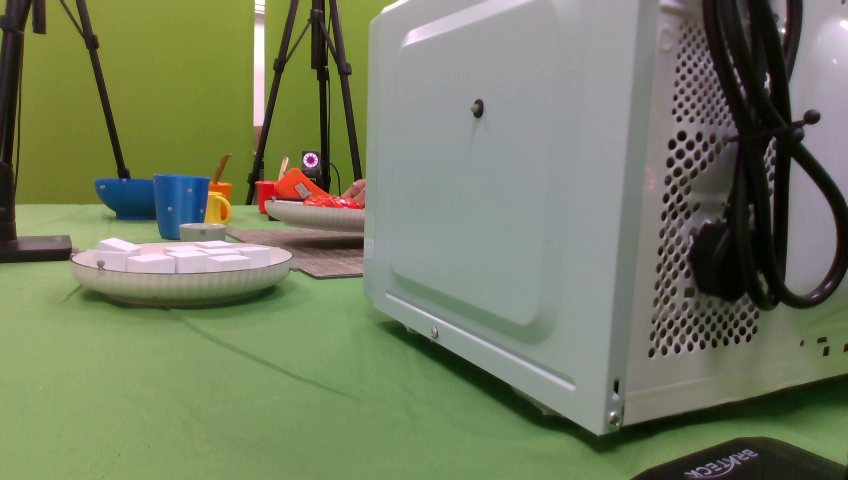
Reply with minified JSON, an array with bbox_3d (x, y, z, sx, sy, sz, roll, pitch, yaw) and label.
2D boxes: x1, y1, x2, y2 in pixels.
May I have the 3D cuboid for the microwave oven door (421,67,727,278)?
[{"bbox_3d":[0.171,-0.090,0.755,0.355,0.243,0.039,5,9,18],"label":"microwave oven door"}]

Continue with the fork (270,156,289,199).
[{"bbox_3d":[-0.360,-0.144,1.508,0.028,0.018,0.207,1,49,0],"label":"fork"}]

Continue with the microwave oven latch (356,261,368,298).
[{"bbox_3d":[-0.019,0.033,0.530,0.079,0.029,0.030,0,7,-26],"label":"microwave oven latch"}]

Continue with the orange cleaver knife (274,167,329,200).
[{"bbox_3d":[-0.238,-0.091,1.381,0.212,0.077,0.012,31,0,-19],"label":"orange cleaver knife"}]

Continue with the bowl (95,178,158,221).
[{"bbox_3d":[-0.576,-0.081,1.217,0.151,0.077,0.151,3,8,0],"label":"bowl"}]

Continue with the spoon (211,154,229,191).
[{"bbox_3d":[-0.431,-0.115,1.253,0.042,0.193,0.021,-3,54,-33],"label":"spoon"}]

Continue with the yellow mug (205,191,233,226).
[{"bbox_3d":[-0.415,-0.057,1.132,0.130,0.064,0.100,6,8,16],"label":"yellow mug"}]

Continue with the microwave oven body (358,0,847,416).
[{"bbox_3d":[0.211,-0.047,0.474,0.444,0.260,0.324,-1,7,-28],"label":"microwave oven body"}]

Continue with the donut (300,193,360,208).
[{"bbox_3d":[-0.150,-0.051,0.971,0.099,0.048,0.099,6,6,0],"label":"donut"}]

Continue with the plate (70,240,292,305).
[{"bbox_3d":[-0.242,0.031,0.618,0.208,0.039,0.207,2,8,0],"label":"plate"}]

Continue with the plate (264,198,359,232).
[{"bbox_3d":[-0.150,-0.040,0.966,0.209,0.038,0.209,5,4,0],"label":"plate"}]

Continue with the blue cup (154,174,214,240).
[{"bbox_3d":[-0.390,-0.053,0.978,0.093,0.100,0.092,3,6,0],"label":"blue cup"}]

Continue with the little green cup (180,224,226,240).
[{"bbox_3d":[-0.308,-0.001,0.846,0.061,0.038,0.061,2,8,0],"label":"little green cup"}]
